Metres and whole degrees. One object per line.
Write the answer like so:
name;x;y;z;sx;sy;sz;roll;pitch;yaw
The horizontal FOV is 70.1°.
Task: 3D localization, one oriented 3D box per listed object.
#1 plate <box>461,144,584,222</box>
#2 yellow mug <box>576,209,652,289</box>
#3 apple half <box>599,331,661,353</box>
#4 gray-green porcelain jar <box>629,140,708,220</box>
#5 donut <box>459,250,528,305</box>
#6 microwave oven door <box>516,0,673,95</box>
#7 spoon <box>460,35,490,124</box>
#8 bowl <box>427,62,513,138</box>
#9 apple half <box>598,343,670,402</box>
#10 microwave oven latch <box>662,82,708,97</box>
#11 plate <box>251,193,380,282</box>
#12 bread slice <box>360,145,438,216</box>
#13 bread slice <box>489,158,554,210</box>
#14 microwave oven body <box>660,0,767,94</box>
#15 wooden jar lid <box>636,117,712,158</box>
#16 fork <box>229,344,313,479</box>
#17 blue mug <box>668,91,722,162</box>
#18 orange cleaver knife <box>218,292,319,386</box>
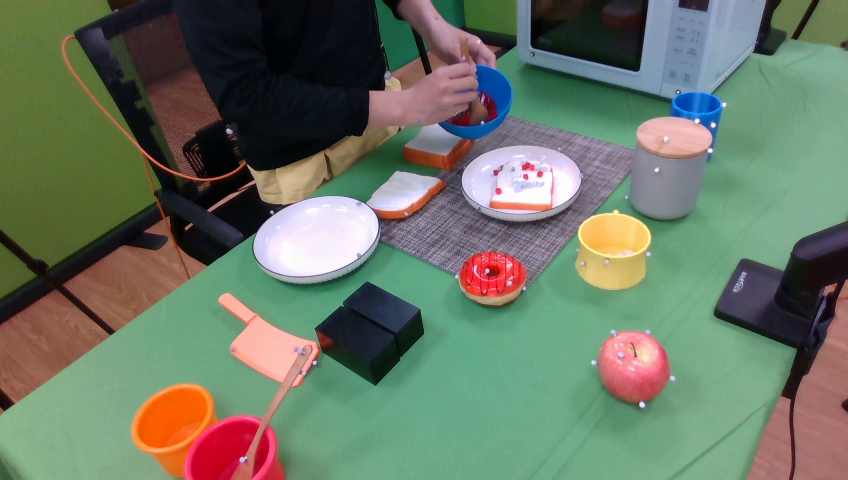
plate;0.167;-0.095;1.040;0.207;0.039;0.206;-4;40;4
yellow mug;0.279;0.004;0.893;0.099;0.064;0.130;5;42;14
apple half;0.249;0.134;0.738;0.081;0.081;0.032;-1;46;7
gray-green porcelain jar;0.383;-0.104;0.958;0.106;0.127;0.105;-4;41;4
donut;0.100;0.053;0.872;0.099;0.048;0.098;-5;40;4
microwave oven door;0.344;-0.458;1.257;0.353;0.245;0.039;26;51;33
spoon;0.079;-0.256;0.998;0.042;0.195;0.021;-31;50;-6
bowl;0.083;-0.237;1.083;0.151;0.077;0.150;-3;59;5
apple half;0.247;0.161;0.710;0.081;0.075;0.053;2;47;5
microwave oven latch;0.518;-0.298;1.202;0.078;0.029;0.030;28;53;35
plate;-0.174;-0.001;0.984;0.209;0.038;0.208;-3;40;3
bread slice;-0.053;-0.103;1.046;0.106;0.018;0.134;19;67;22
bread slice;0.173;-0.099;1.047;0.104;0.019;0.131;4;43;12
microwave oven body;0.473;-0.516;1.313;0.438;0.261;0.327;26;51;34
wooden jar lid;0.377;-0.151;0.917;0.108;0.021;0.108;-2;42;3
fork;-0.173;0.205;0.662;0.028;0.019;0.207;29;94;36
blue mug;0.474;-0.207;1.079;0.082;0.106;0.116;4;42;13
orange cleaver knife;-0.235;0.136;0.850;0.209;0.012;0.077;25;56;30
